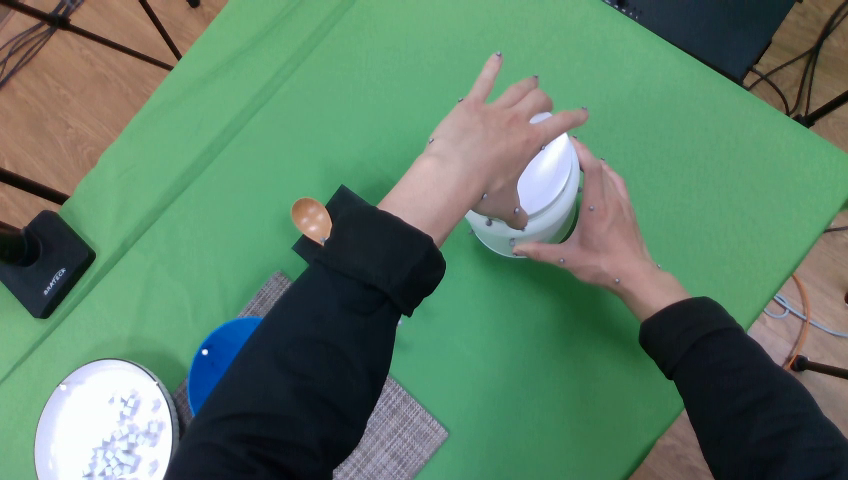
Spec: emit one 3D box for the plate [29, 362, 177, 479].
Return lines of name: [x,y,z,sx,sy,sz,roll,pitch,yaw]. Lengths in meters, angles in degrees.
plate: [-0.402,0.261,0.771,0.208,0.038,0.208,-3,77,13]

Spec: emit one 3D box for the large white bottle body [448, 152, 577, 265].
large white bottle body: [0.097,-0.050,0.652,0.130,0.185,0.130,-2,78,12]

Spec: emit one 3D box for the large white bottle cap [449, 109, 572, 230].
large white bottle cap: [0.080,-0.067,0.569,0.114,0.018,0.114,-2,79,11]

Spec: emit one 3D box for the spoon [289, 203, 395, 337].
spoon: [-0.096,0.036,0.715,0.041,0.022,0.193,-36,79,-3]

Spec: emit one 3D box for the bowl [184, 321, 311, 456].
bowl: [-0.196,0.174,0.723,0.151,0.077,0.150,-2,79,11]
